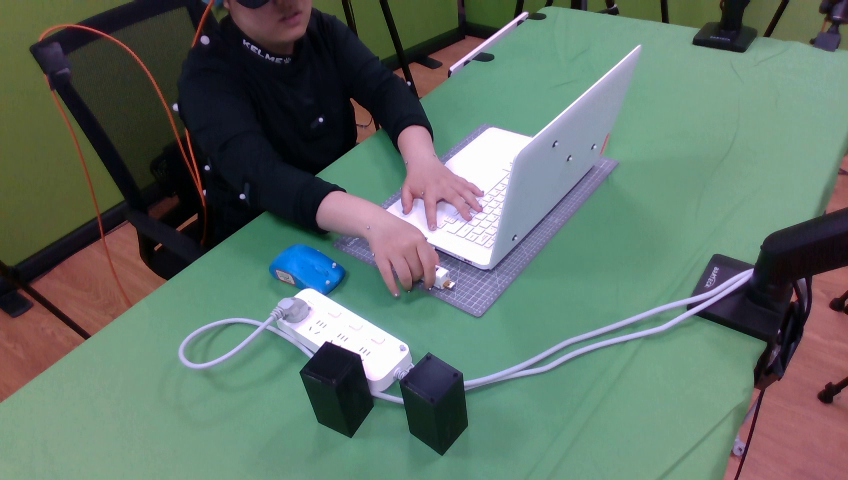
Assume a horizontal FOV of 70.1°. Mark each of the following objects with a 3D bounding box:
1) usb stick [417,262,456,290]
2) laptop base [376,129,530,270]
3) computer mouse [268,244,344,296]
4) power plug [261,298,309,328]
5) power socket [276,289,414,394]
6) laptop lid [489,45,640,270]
[{"bbox_3d":[0.020,0.055,0.892,0.059,0.027,0.021,22,52,30],"label":"usb stick"},{"bbox_3d":[0.115,-0.086,1.056,0.233,0.023,0.355,21,48,34],"label":"laptop base"},{"bbox_3d":[-0.182,0.044,0.932,0.116,0.041,0.063,23,47,24],"label":"computer mouse"},{"bbox_3d":[-0.192,0.107,0.830,0.073,0.053,0.035,-32,43,-26],"label":"power plug"},{"bbox_3d":[-0.114,0.133,0.820,0.225,0.033,0.072,25,49,33],"label":"power socket"},{"bbox_3d":[0.214,-0.125,0.907,0.013,0.242,0.358,33,52,22],"label":"laptop lid"}]
